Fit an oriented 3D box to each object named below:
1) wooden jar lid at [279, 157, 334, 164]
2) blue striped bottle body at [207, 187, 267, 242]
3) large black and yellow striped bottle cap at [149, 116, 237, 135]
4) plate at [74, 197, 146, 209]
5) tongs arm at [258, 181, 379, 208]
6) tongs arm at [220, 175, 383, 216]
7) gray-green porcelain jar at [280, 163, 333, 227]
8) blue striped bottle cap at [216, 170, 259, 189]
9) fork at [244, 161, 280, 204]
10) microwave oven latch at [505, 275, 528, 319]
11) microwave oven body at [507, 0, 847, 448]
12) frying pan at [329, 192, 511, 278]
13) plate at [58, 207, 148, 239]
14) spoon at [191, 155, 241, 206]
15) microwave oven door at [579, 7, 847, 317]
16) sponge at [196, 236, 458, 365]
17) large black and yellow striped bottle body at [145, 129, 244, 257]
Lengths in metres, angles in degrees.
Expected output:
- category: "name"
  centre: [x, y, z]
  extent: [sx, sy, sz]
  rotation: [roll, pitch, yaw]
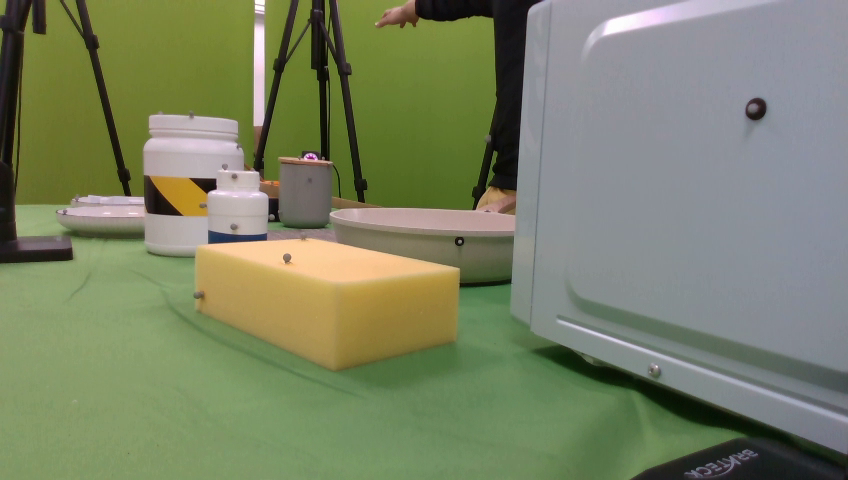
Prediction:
- category: "wooden jar lid"
  centre: [-0.237, -0.154, 1.213]
  extent: [0.108, 0.020, 0.108]
  rotation: [6, 9, -1]
- category: "blue striped bottle body"
  centre: [-0.204, -0.016, 0.661]
  extent: [0.063, 0.120, 0.063]
  rotation: [2, 7, 0]
- category: "large black and yellow striped bottle cap"
  centre: [-0.319, -0.158, 0.841]
  extent: [0.115, 0.019, 0.115]
  rotation: [3, 6, 0]
- category: "plate"
  centre: [-0.596, -0.062, 1.238]
  extent: [0.208, 0.039, 0.207]
  rotation: [2, 8, 0]
- category: "tongs arm"
  centre: [-0.242, -0.095, 1.374]
  extent: [0.387, 0.026, 0.050]
  rotation: [9, 0, -37]
- category: "tongs arm"
  centre: [-0.286, -0.105, 1.445]
  extent: [0.389, 0.027, 0.028]
  rotation: [10, -4, -23]
- category: "gray-green porcelain jar"
  centre: [-0.238, -0.092, 1.221]
  extent: [0.106, 0.126, 0.106]
  rotation: [1, 7, 0]
- category: "blue striped bottle cap"
  centre: [-0.202, -0.066, 0.654]
  extent: [0.044, 0.020, 0.044]
  rotation: [0, 5, 0]
- category: "fork"
  centre: [-0.399, -0.144, 1.489]
  extent: [0.028, 0.018, 0.208]
  rotation: [23, -23, 47]
- category: "microwave oven latch"
  centre: [0.100, 0.042, 0.471]
  extent: [0.079, 0.029, 0.030]
  rotation: [-1, 7, -28]
- category: "microwave oven body"
  centre: [0.331, -0.042, 0.425]
  extent: [0.444, 0.260, 0.324]
  rotation: [-2, 8, -31]
- category: "frying pan"
  centre: [0.071, -0.030, 0.883]
  extent: [0.305, 0.102, 0.490]
  rotation: [7, 17, 27]
- category: "plate"
  centre: [-0.496, -0.030, 1.022]
  extent: [0.209, 0.038, 0.209]
  rotation: [2, 8, 0]
- category: "spoon"
  centre: [-0.489, -0.136, 1.418]
  extent: [0.041, 0.021, 0.194]
  rotation: [2, -35, 19]
- category: "microwave oven door"
  centre: [0.294, -0.067, 0.570]
  extent: [0.358, 0.243, 0.039]
  rotation: [-3, 9, -31]
- category: "sponge"
  centre: [-0.087, 0.039, 0.500]
  extent: [0.206, 0.061, 0.119]
  rotation: [8, 9, 44]
- category: "large black and yellow striped bottle body"
  centre: [-0.320, -0.075, 0.851]
  extent: [0.131, 0.184, 0.130]
  rotation: [2, 8, 0]
